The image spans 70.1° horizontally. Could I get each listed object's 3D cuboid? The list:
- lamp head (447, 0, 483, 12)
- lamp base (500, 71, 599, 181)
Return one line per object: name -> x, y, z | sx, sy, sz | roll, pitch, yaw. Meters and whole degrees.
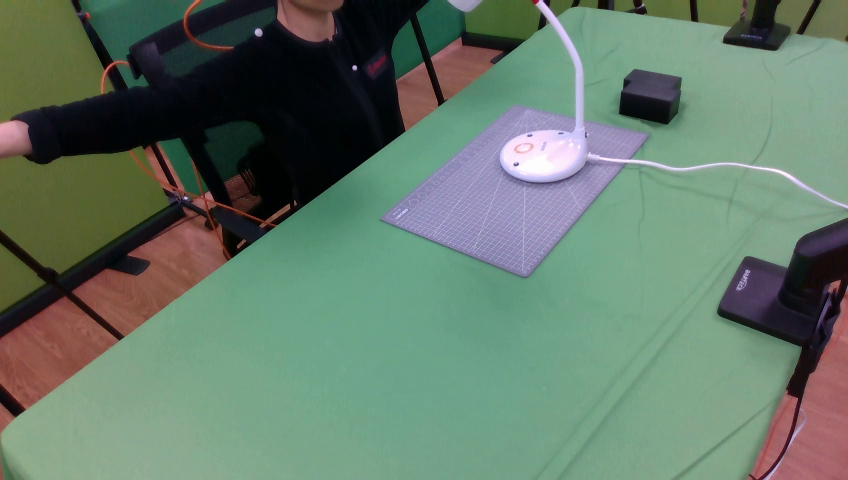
lamp head -> 0.084, -0.423, 0.915 | 0.122, 0.113, 0.112 | -21, 31, 36
lamp base -> 0.223, -0.217, 1.068 | 0.179, 0.181, 0.160 | 2, 42, 10
